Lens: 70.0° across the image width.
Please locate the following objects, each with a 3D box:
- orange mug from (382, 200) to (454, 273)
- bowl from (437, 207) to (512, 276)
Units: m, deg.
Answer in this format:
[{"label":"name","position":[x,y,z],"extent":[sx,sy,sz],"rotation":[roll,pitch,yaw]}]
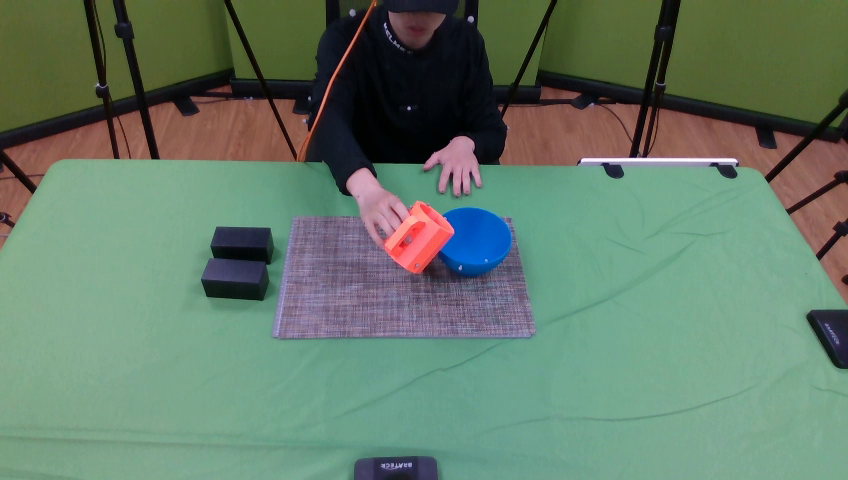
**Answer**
[{"label":"orange mug","position":[-0.017,-0.007,1.035],"extent":[0.083,0.126,0.101],"rotation":[45,100,18]},{"label":"bowl","position":[0.086,0.016,1.146],"extent":[0.151,0.077,0.150],"rotation":[2,46,-2]}]
